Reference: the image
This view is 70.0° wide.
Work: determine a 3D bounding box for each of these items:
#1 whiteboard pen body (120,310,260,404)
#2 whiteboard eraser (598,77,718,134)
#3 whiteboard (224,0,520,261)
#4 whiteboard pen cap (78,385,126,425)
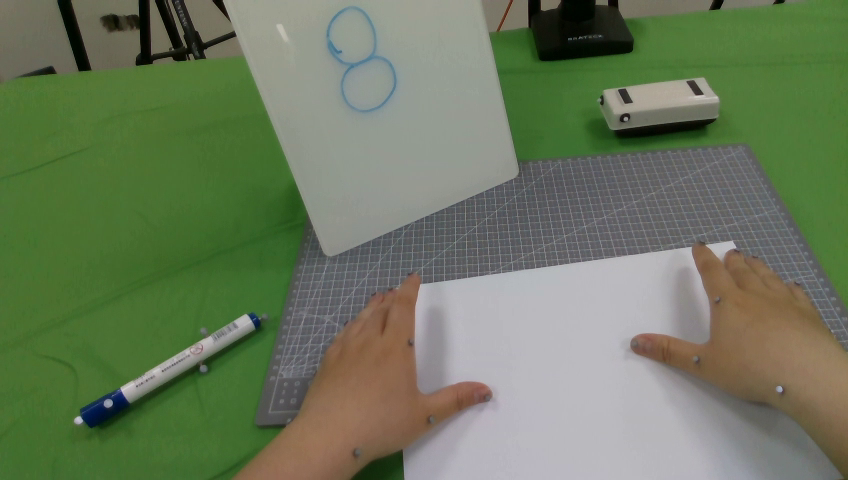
[{"bbox_3d":[-0.196,0.097,0.484,0.141,0.017,0.017,-32,48,-24],"label":"whiteboard pen body"},{"bbox_3d":[0.249,-0.143,0.650,0.112,0.042,0.055,-5,46,2],"label":"whiteboard eraser"},{"bbox_3d":[-0.062,-0.175,0.586,0.217,0.308,0.142,-24,25,-14],"label":"whiteboard"},{"bbox_3d":[-0.242,0.124,0.460,0.033,0.018,0.018,-33,49,-24],"label":"whiteboard pen cap"}]
